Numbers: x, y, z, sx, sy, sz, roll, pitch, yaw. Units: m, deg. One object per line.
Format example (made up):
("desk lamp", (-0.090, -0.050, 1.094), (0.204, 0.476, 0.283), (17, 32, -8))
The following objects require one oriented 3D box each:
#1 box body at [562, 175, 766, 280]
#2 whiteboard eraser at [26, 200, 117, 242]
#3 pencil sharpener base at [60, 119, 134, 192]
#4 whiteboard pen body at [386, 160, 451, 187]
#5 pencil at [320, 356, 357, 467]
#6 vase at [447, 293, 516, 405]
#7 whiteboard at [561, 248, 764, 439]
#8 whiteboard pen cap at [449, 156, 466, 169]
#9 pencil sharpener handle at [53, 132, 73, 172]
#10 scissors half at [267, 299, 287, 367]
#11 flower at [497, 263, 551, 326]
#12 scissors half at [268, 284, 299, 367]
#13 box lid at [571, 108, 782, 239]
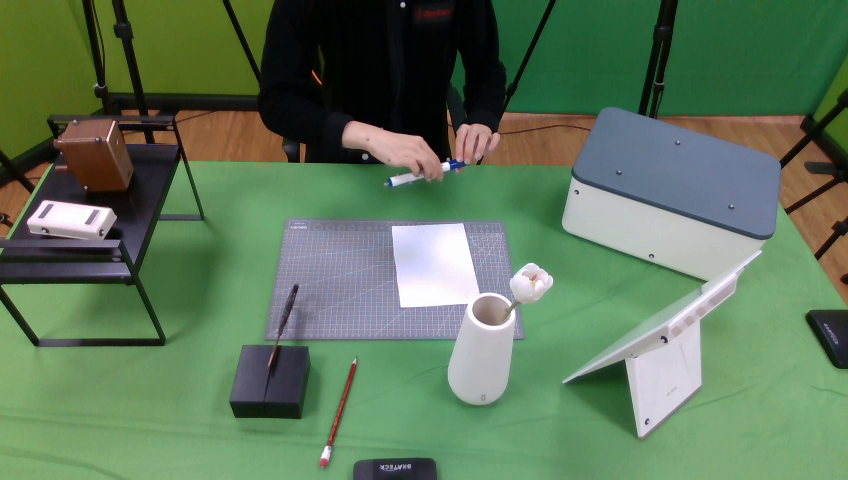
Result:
("box body", (0.486, -0.088, 1.222), (0.363, 0.161, 0.253), (20, 48, 15))
("whiteboard eraser", (-0.532, -0.026, 0.919), (0.113, 0.042, 0.055), (7, 45, 3))
("pencil sharpener base", (-0.528, -0.135, 0.979), (0.077, 0.107, 0.061), (-4, 47, -7))
("whiteboard pen body", (0.002, -0.118, 1.046), (0.141, 0.017, 0.017), (-19, 50, -14))
("pencil", (-0.130, 0.261, 0.946), (0.012, 0.012, 0.193), (10, 45, 5))
("vase", (0.091, 0.169, 0.921), (0.098, 0.201, 0.097), (3, 47, -3))
("whiteboard", (0.386, 0.176, 0.905), (0.217, 0.306, 0.143), (-26, 72, -27))
("whiteboard pen cap", (0.056, -0.135, 1.062), (0.033, 0.018, 0.018), (-19, 50, -11))
("pencil sharpener handle", (-0.578, -0.138, 0.961), (0.031, 0.068, 0.036), (-4, 34, -7))
("scissors half", (-0.239, 0.150, 0.997), (0.013, 0.040, 0.174), (24, 24, -13))
("flower", (0.103, 0.121, 0.853), (0.044, 0.363, 0.038), (-1, 64, -9))
("scissors half", (-0.230, 0.135, 0.986), (0.013, 0.040, 0.174), (19, 43, -11))
("box lid", (0.491, -0.139, 1.168), (0.370, 0.015, 0.262), (21, 49, 15))
